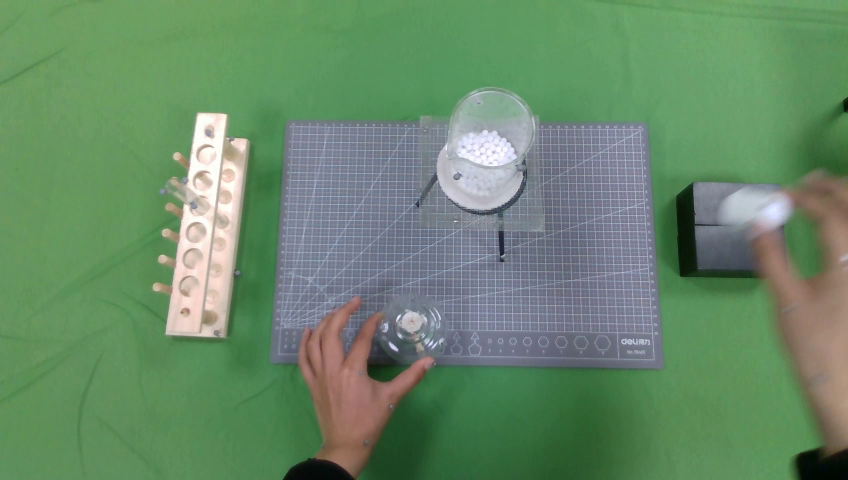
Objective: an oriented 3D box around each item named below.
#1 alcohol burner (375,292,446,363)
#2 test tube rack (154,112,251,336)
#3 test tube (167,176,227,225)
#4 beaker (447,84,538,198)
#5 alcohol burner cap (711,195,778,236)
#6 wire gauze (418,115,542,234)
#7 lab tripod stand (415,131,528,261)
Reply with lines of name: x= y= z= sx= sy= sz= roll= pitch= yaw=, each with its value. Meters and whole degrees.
alcohol burner: x=-0.014 y=0.092 z=0.648 sx=0.078 sy=0.119 sz=0.077 roll=0 pitch=77 yaw=-1
test tube rack: x=-0.256 y=-0.017 z=0.691 sx=0.067 sy=0.085 sz=0.241 roll=3 pitch=78 yaw=1
test tube: x=-0.237 y=-0.038 z=0.645 sx=0.017 sy=0.150 sz=0.017 roll=0 pitch=78 yaw=-2
beaker: x=0.056 y=-0.083 z=0.558 sx=0.084 sy=0.100 sz=0.073 roll=-32 pitch=79 yaw=-7
alcohol burner cap: x=0.258 y=-0.017 z=0.483 sx=0.034 sy=0.047 sz=0.034 roll=-2 pitch=98 yaw=-13
wire gauze: x=0.056 y=-0.068 z=0.604 sx=0.125 sy=0.011 sz=0.121 roll=2 pitch=78 yaw=-1
lab tripod stand: x=0.061 y=-0.057 z=0.669 sx=0.148 sy=0.132 sz=0.147 roll=0 pitch=75 yaw=1
